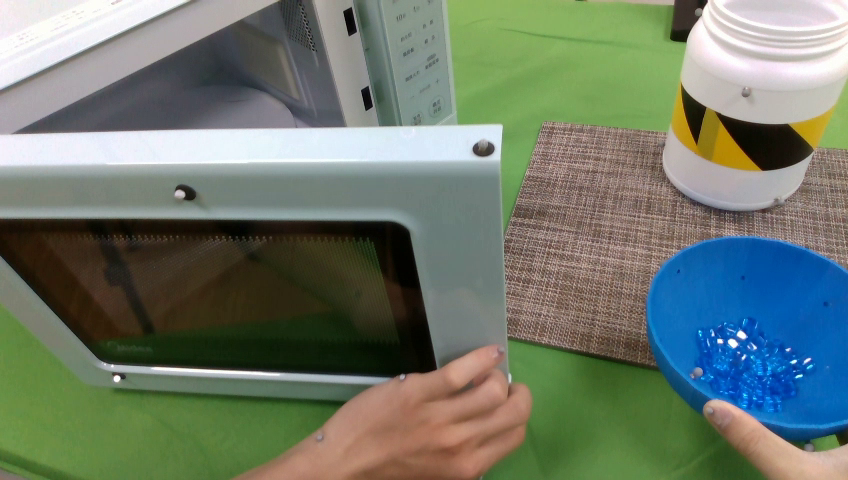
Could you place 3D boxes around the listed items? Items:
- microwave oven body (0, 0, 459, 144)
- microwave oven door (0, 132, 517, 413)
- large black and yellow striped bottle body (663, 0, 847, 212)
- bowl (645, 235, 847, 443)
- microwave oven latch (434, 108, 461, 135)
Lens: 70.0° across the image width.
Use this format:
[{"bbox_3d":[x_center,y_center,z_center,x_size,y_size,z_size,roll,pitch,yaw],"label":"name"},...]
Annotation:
[{"bbox_3d":[-0.235,-0.150,0.599,0.441,0.263,0.323,-39,54,-24],"label":"microwave oven body"},{"bbox_3d":[-0.120,0.035,0.400,0.355,0.246,0.039,0,47,10],"label":"microwave oven door"},{"bbox_3d":[0.297,-0.131,0.545,0.130,0.186,0.129,-5,47,5],"label":"large black and yellow striped bottle body"},{"bbox_3d":[0.225,0.077,0.414,0.151,0.077,0.150,-4,47,5],"label":"bowl"},{"bbox_3d":[0.006,-0.117,0.662,0.079,0.030,0.030,-37,53,-23],"label":"microwave oven latch"}]
